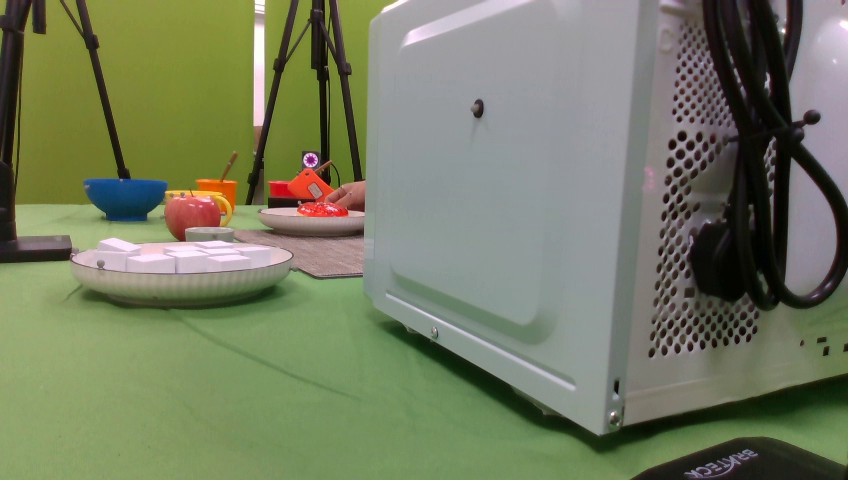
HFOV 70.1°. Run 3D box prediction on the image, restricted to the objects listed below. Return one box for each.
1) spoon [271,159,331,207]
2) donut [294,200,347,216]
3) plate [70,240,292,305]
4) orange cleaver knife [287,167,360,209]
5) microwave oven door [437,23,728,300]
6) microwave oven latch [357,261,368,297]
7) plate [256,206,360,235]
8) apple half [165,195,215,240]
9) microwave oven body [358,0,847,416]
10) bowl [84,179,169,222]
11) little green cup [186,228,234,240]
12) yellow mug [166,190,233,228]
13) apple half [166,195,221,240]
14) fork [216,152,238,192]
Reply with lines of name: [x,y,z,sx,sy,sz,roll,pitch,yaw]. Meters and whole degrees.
spoon: [-0.307,-0.141,1.514,0.193,0.021,0.041,-41,4,8]
donut: [-0.193,-0.049,1.134,0.099,0.048,0.099,4,8,0]
plate: [-0.242,0.031,0.618,0.208,0.039,0.207,2,8,0]
orange cleaver knife: [-0.209,-0.089,1.383,0.212,0.077,0.012,31,3,-15]
microwave oven door: [0.181,-0.072,0.621,0.358,0.243,0.039,-2,9,-29]
microwave oven latch: [-0.019,0.033,0.531,0.079,0.029,0.030,-1,7,-27]
plate: [-0.202,-0.037,1.120,0.209,0.038,0.209,2,8,0]
apple half: [-0.377,-0.038,0.964,0.082,0.081,0.032,-4,14,-39]
microwave oven body: [0.211,-0.047,0.474,0.444,0.260,0.324,-1,7,-28]
bowl: [-0.584,-0.078,1.194,0.151,0.077,0.151,3,8,0]
little green cup: [-0.284,0.005,0.805,0.061,0.038,0.061,2,8,0]
yellow mug: [-0.415,-0.057,1.132,0.130,0.064,0.100,6,8,16]
apple half: [-0.352,-0.031,0.935,0.081,0.074,0.053,1,11,-40]
fork: [-0.455,-0.132,1.366,0.028,0.018,0.207,-2,-35,-37]
